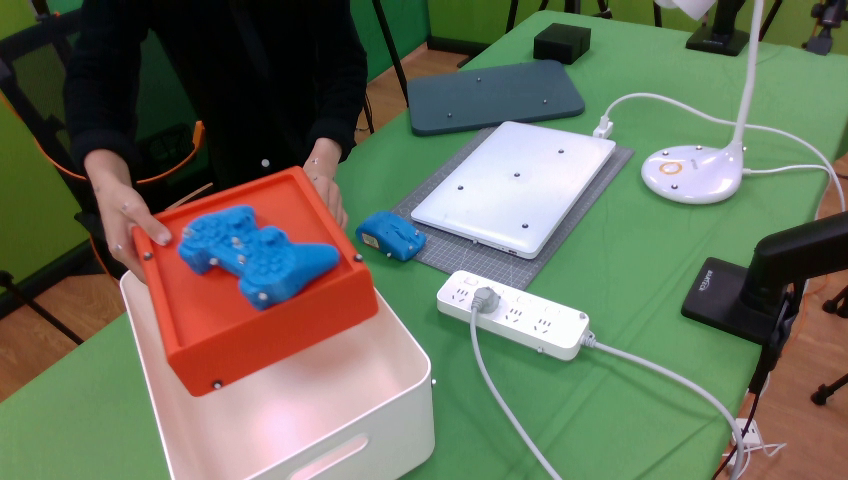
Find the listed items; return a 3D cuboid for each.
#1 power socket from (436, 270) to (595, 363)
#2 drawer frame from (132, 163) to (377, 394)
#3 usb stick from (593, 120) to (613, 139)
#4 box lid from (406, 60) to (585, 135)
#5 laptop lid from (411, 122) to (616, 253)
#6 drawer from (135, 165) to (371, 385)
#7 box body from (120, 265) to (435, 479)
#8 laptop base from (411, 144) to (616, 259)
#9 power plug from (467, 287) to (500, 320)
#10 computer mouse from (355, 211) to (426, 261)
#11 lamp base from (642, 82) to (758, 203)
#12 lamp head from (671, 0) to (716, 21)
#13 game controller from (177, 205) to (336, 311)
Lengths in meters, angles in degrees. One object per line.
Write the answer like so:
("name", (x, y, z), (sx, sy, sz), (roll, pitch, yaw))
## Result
("power socket", (0.118, 0.101, 0.832), (0.225, 0.033, 0.072), (19, 48, 27))
("drawer frame", (-0.186, 0.028, 0.654), (0.202, 0.083, 0.211), (-23, 46, -17))
("usb stick", (0.336, -0.201, 1.146), (0.021, 0.027, 0.059), (25, 52, 27))
("box lid", (0.150, -0.320, 1.339), (0.372, 0.015, 0.261), (-8, 40, 0))
("laptop lid", (0.165, -0.111, 1.067), (0.240, 0.013, 0.357), (19, 46, 31))
("drawer", (-0.187, 0.027, 0.656), (0.195, 0.073, 0.210), (-22, 46, -18))
("box body", (-0.173, 0.146, 0.720), (0.255, 0.161, 0.360), (-25, 43, -19))
("laptop base", (0.168, -0.101, 1.073), (0.234, 0.023, 0.355), (17, 46, 30))
("power plug", (0.073, 0.092, 0.813), (0.035, 0.053, 0.073), (29, 53, 35))
("computer mouse", (-0.055, -0.010, 0.979), (0.116, 0.041, 0.063), (27, 49, 28))
("lamp base", (0.464, -0.174, 0.992), (0.179, 0.181, 0.159), (-5, 41, -1))
("lamp head", (0.375, -0.373, 0.807), (0.122, 0.113, 0.112), (-40, 27, 32))
("game controller", (-0.173, 0.007, 0.600), (0.154, 0.052, 0.097), (24, 56, 30))
